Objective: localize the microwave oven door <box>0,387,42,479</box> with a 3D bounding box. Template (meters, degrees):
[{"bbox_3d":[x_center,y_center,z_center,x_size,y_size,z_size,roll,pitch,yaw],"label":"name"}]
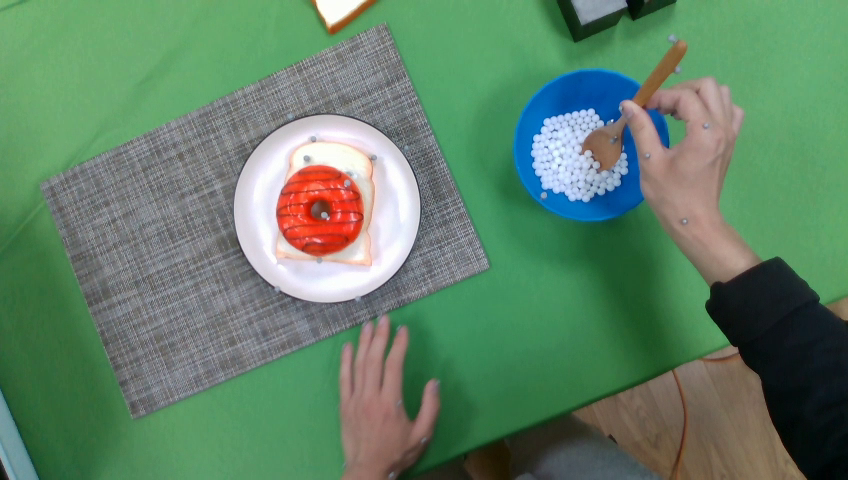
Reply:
[{"bbox_3d":[-0.512,0.184,0.586,0.039,0.244,0.355,-26,87,4],"label":"microwave oven door"}]

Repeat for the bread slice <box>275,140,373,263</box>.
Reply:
[{"bbox_3d":[-0.108,-0.043,0.668,0.107,0.018,0.134,2,90,4],"label":"bread slice"}]

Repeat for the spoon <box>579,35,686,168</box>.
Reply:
[{"bbox_3d":[0.186,-0.118,0.551,0.021,0.194,0.041,-38,79,-15],"label":"spoon"}]

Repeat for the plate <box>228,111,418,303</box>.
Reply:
[{"bbox_3d":[-0.108,-0.035,0.668,0.207,0.039,0.207,0,90,5],"label":"plate"}]

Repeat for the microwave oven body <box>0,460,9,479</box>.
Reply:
[{"bbox_3d":[-0.661,0.209,0.604,0.326,0.260,0.441,-25,88,4],"label":"microwave oven body"}]

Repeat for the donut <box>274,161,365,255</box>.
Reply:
[{"bbox_3d":[-0.110,-0.034,0.640,0.099,0.048,0.099,0,90,6],"label":"donut"}]

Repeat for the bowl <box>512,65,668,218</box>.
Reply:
[{"bbox_3d":[0.164,-0.095,0.628,0.151,0.077,0.151,0,89,5],"label":"bowl"}]

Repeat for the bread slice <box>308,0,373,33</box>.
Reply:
[{"bbox_3d":[-0.106,-0.316,0.682,0.105,0.019,0.131,-38,88,3],"label":"bread slice"}]
